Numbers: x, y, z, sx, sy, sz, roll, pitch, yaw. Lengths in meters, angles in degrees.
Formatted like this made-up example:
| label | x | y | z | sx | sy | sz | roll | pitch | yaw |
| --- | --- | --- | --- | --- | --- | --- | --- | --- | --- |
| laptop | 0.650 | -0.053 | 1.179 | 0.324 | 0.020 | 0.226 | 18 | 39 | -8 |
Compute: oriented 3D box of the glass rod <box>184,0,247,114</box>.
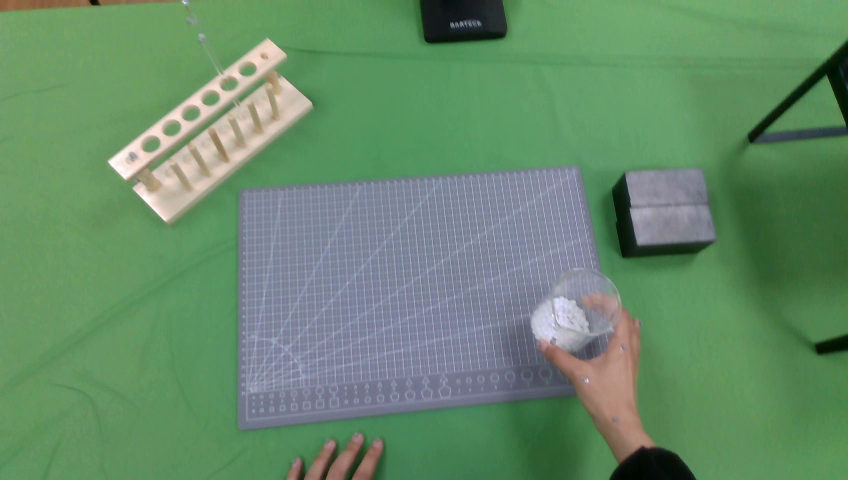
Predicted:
| label | x | y | z | sx | sy | sz | roll | pitch | yaw |
| --- | --- | --- | --- | --- | --- | --- | --- | --- | --- |
| glass rod | -0.243 | -0.211 | 0.710 | 0.008 | 0.201 | 0.008 | -1 | 65 | 2 |

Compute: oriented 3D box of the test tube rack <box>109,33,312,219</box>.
| label | x | y | z | sx | sy | sz | roll | pitch | yaw |
| --- | --- | --- | --- | --- | --- | --- | --- | --- | --- |
| test tube rack | -0.256 | -0.142 | 0.756 | 0.066 | 0.085 | 0.242 | 42 | 74 | 12 |

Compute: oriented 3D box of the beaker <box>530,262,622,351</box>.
| label | x | y | z | sx | sy | sz | roll | pitch | yaw |
| --- | --- | --- | --- | --- | --- | --- | --- | --- | --- |
| beaker | 0.160 | 0.080 | 0.664 | 0.084 | 0.101 | 0.073 | -38 | 75 | -20 |
